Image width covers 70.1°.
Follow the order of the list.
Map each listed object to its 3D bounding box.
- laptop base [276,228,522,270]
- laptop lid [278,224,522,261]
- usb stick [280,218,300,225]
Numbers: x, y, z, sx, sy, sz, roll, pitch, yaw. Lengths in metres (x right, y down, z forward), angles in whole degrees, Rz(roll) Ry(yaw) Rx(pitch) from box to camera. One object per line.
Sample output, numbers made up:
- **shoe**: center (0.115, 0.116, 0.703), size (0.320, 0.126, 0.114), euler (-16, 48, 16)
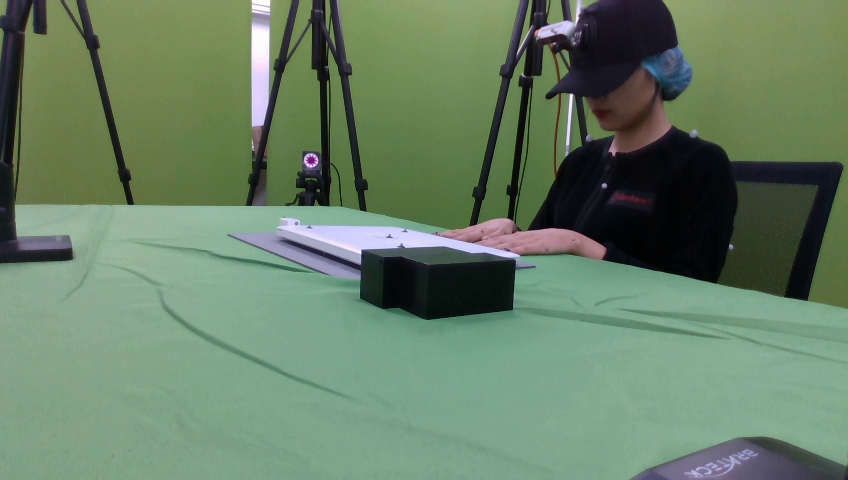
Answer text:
- **laptop base**: center (-0.054, 0.011, 0.910), size (0.237, 0.023, 0.352), euler (1, 6, -33)
- **laptop lid**: center (-0.052, -0.001, 0.909), size (0.243, 0.013, 0.355), euler (0, 7, -32)
- **usb stick**: center (-0.225, -0.023, 1.024), size (0.021, 0.027, 0.059), euler (0, 9, -31)
